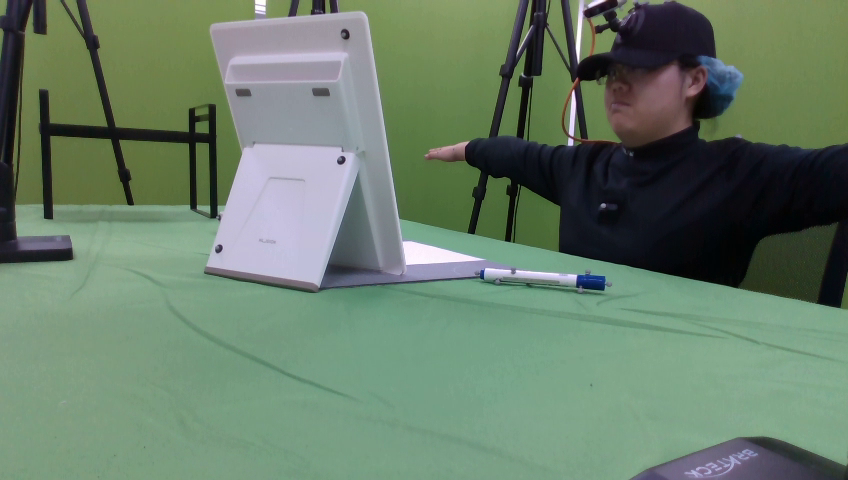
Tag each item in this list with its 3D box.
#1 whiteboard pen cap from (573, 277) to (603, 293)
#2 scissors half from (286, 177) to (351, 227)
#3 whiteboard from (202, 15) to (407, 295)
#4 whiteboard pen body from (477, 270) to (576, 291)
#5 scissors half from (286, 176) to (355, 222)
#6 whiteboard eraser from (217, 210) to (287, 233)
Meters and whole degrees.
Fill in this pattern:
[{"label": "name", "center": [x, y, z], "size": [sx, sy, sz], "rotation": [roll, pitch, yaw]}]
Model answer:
[{"label": "whiteboard pen cap", "center": [0.186, 0.051, 0.687], "size": [0.033, 0.018, 0.018], "rotation": [4, 7, 18]}, {"label": "scissors half", "center": [-0.232, -0.085, 1.318], "size": [0.175, 0.013, 0.040], "rotation": [38, 21, 4]}, {"label": "whiteboard", "center": [-0.167, -0.073, 0.668], "size": [0.216, 0.305, 0.144], "rotation": [7, 30, 28]}, {"label": "whiteboard pen body", "center": [0.131, 0.048, 0.706], "size": [0.140, 0.017, 0.017], "rotation": [4, 7, 18]}, {"label": "scissors half", "center": [-0.229, -0.091, 1.337], "size": [0.175, 0.013, 0.040], "rotation": [33, 16, -13]}, {"label": "whiteboard eraser", "center": [-0.310, -0.034, 1.094], "size": [0.113, 0.042, 0.055], "rotation": [-2, 11, -38]}]
